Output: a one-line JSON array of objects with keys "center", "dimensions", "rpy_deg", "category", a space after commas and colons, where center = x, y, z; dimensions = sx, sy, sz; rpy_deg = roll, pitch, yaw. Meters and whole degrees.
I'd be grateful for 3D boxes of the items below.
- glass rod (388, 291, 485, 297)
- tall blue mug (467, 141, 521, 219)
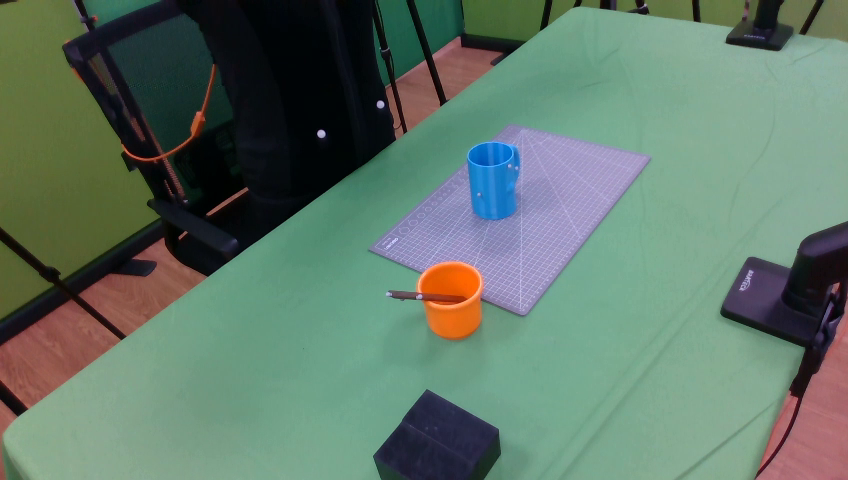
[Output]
[{"center": [0.022, 0.073, 0.808], "dimensions": [0.008, 0.008, 0.201], "rpy_deg": [31, 16, 38], "category": "glass rod"}, {"center": [0.119, -0.109, 1.020], "dimensions": [0.077, 0.108, 0.107], "rpy_deg": [2, 42, 16], "category": "tall blue mug"}]
